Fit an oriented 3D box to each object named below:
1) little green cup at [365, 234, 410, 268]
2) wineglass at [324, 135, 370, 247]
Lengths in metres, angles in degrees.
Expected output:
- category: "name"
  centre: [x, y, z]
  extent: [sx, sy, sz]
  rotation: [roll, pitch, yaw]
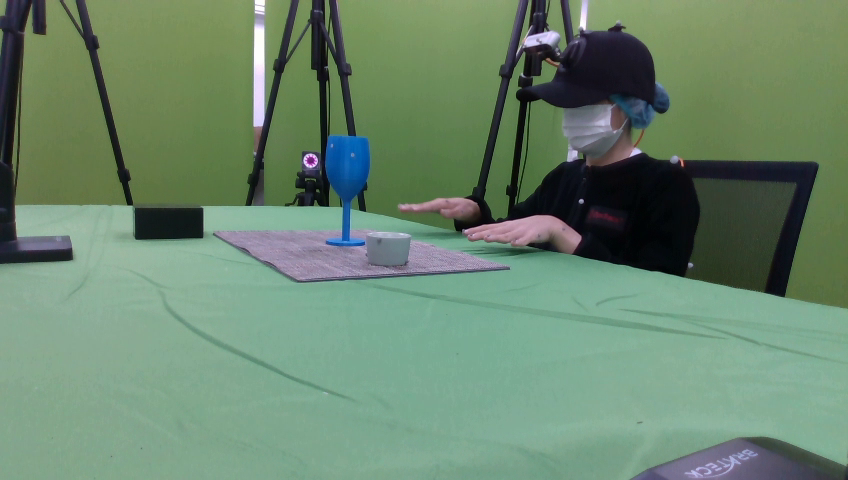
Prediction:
- category: "little green cup"
  centre: [-0.048, 0.014, 0.802]
  extent: [0.061, 0.038, 0.061]
  rotation: [2, 8, 0]
- category: "wineglass"
  centre: [-0.125, -0.079, 0.965]
  extent: [0.074, 0.172, 0.073]
  rotation: [3, 7, 0]
